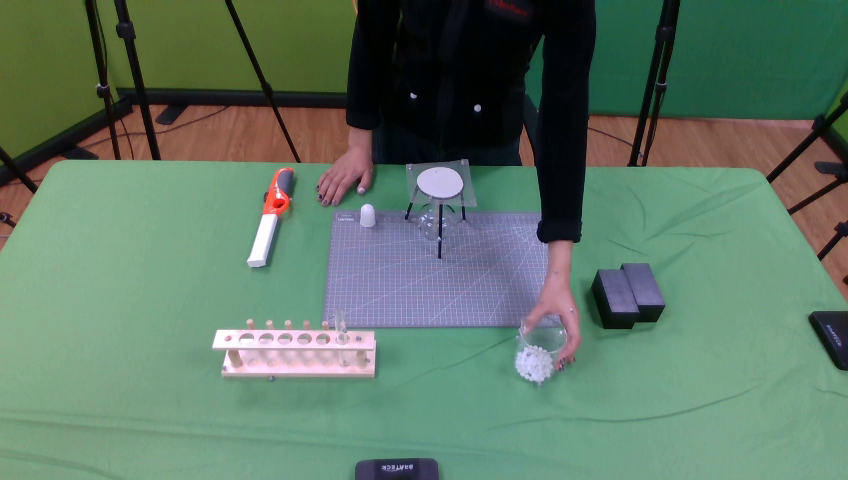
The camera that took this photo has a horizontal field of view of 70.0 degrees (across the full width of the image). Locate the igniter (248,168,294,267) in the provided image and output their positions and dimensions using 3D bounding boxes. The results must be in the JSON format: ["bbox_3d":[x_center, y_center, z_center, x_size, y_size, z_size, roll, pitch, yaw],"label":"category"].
[{"bbox_3d":[-0.307,-0.055,1.225,0.057,0.025,0.275,-3,46,7],"label":"igniter"}]

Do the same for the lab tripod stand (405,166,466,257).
[{"bbox_3d":[0.030,-0.063,1.180,0.148,0.132,0.147,3,47,-3],"label":"lab tripod stand"}]

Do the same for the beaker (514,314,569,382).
[{"bbox_3d":[0.185,0.177,0.986,0.074,0.101,0.083,-35,57,-29],"label":"beaker"}]

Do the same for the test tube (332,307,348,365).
[{"bbox_3d":[-0.128,0.151,0.931,0.017,0.151,0.017,2,50,-2],"label":"test tube"}]

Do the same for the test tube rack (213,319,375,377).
[{"bbox_3d":[-0.202,0.170,0.976,0.242,0.085,0.066,1,46,-3],"label":"test tube rack"}]

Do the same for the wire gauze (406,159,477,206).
[{"bbox_3d":[0.031,-0.108,1.129,0.125,0.011,0.120,-1,48,-4],"label":"wire gauze"}]

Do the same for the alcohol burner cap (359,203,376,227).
[{"bbox_3d":[-0.114,-0.053,1.223,0.034,0.048,0.033,3,46,-3],"label":"alcohol burner cap"}]

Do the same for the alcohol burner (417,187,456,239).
[{"bbox_3d":[0.025,-0.059,1.189,0.078,0.120,0.077,1,48,-1],"label":"alcohol burner"}]
